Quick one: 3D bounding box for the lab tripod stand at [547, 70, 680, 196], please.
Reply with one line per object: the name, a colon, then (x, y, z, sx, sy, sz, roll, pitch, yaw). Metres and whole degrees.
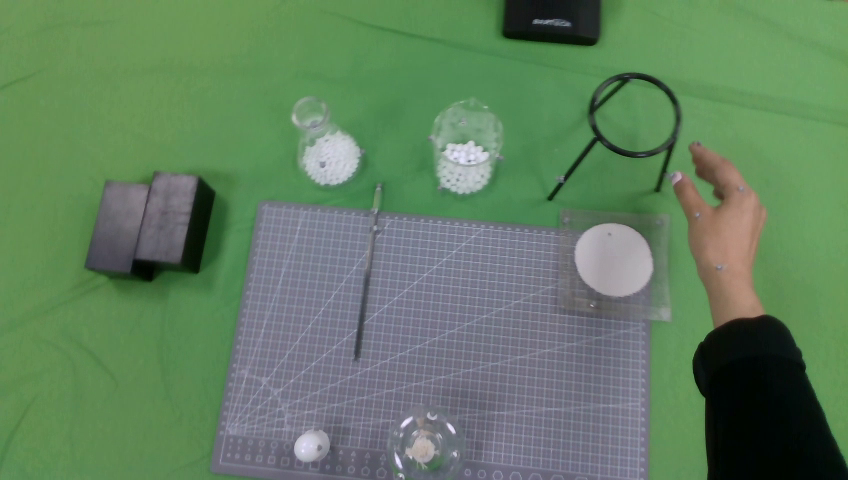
lab tripod stand: (0.202, -0.106, 0.650, 0.148, 0.132, 0.147, 0, 77, 1)

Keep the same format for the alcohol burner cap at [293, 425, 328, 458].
alcohol burner cap: (-0.117, 0.206, 0.616, 0.034, 0.048, 0.033, 0, 76, 0)

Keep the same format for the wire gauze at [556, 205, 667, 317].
wire gauze: (0.211, 0.021, 0.680, 0.125, 0.011, 0.121, 5, 76, 2)

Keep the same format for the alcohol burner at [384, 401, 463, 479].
alcohol burner: (-0.001, 0.196, 0.582, 0.078, 0.119, 0.077, 0, 77, 1)

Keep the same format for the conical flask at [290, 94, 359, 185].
conical flask: (-0.114, -0.113, 0.658, 0.075, 0.122, 0.075, 0, 75, 1)

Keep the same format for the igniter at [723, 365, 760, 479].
igniter: (0.315, 0.265, 0.611, 0.057, 0.025, 0.275, 13, 76, -8)

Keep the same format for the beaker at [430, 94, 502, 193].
beaker: (0.044, -0.102, 0.667, 0.074, 0.101, 0.083, 8, 75, 2)

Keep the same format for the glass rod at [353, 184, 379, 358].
glass rod: (-0.065, 0.031, 0.677, 0.008, 0.008, 0.198, 5, 76, 1)
